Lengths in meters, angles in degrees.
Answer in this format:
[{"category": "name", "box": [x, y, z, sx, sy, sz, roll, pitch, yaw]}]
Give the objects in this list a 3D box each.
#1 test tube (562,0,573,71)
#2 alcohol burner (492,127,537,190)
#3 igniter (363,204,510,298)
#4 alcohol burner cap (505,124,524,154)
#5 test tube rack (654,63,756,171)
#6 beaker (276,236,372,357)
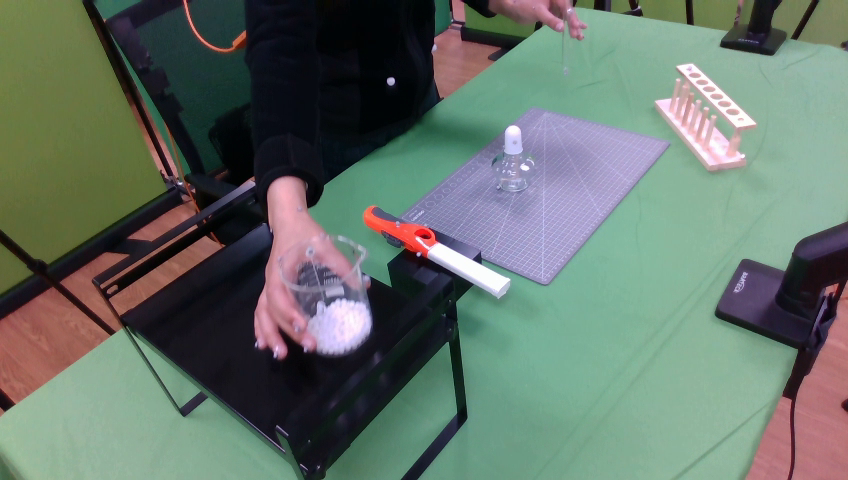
[{"category": "test tube", "box": [0.251, -0.368, 1.061, 0.017, 0.151, 0.017, -5, 40, 5]}, {"category": "alcohol burner", "box": [0.156, -0.146, 1.046, 0.078, 0.119, 0.077, -4, 44, 4]}, {"category": "igniter", "box": [0.007, 0.009, 0.887, 0.274, 0.025, 0.057, 29, 51, 32]}, {"category": "alcohol burner cap", "box": [0.151, -0.173, 1.022, 0.034, 0.048, 0.033, -6, 38, 5]}, {"category": "test tube rack", "box": [0.511, -0.233, 1.120, 0.067, 0.085, 0.241, -8, 41, -1]}, {"category": "beaker", "box": [-0.088, 0.056, 0.576, 0.084, 0.101, 0.073, -17, 42, -12]}]
